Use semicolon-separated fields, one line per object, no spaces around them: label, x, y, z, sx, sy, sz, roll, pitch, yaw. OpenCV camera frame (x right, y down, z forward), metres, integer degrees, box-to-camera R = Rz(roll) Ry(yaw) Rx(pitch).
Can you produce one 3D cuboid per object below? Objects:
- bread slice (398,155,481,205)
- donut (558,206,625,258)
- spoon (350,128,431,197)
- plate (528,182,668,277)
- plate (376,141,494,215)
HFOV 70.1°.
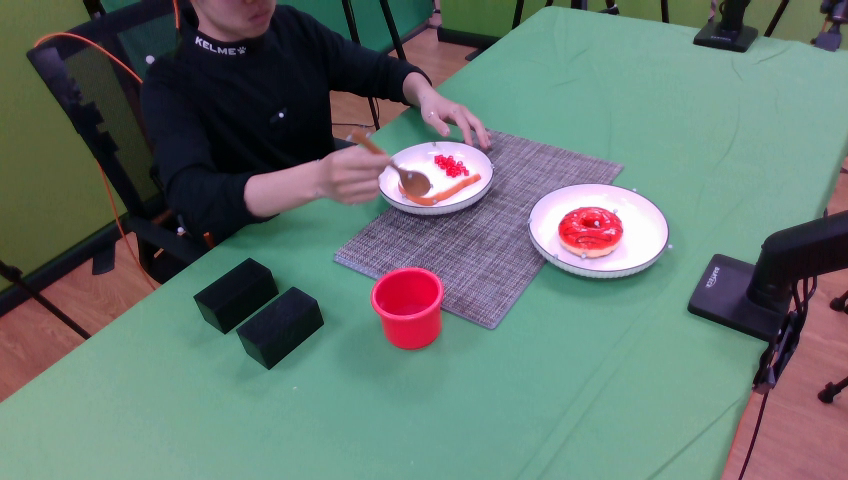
bread slice;0.021;-0.107;1.077;0.132;0.019;0.104;-31;46;-28
donut;0.254;-0.015;0.917;0.099;0.048;0.098;-5;41;5
spoon;-0.045;-0.110;0.863;0.041;0.195;0.021;-41;58;9
plate;0.264;-0.014;0.933;0.207;0.039;0.206;-3;42;3
plate;0.021;-0.106;1.073;0.209;0.038;0.208;-4;40;4
